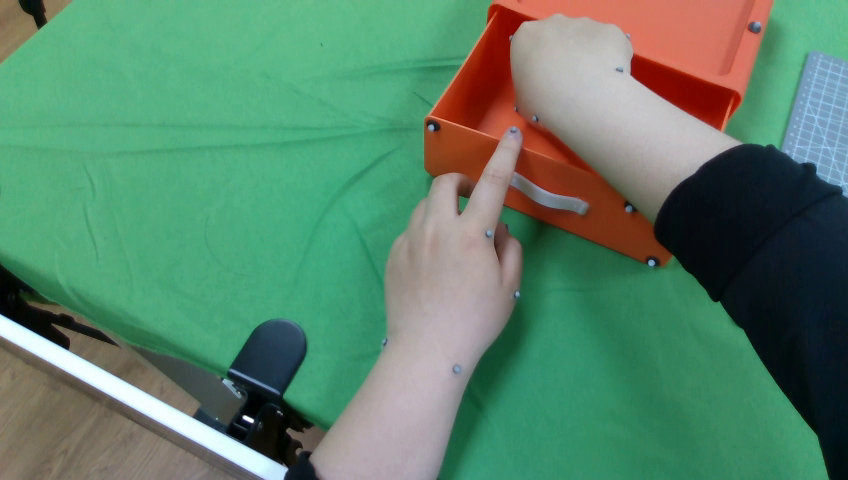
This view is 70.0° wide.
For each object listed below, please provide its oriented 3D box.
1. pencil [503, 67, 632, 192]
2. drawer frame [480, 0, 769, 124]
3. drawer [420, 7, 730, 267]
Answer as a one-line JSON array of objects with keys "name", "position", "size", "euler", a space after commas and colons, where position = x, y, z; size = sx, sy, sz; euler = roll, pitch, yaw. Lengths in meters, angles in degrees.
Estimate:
[{"name": "pencil", "position": [0.123, -0.075, 0.477], "size": [0.012, 0.012, 0.192], "euler": [-32, 69, -17]}, {"name": "drawer frame", "position": [0.179, -0.203, 0.523], "size": [0.201, 0.083, 0.212], "euler": [23, 63, 11]}, {"name": "drawer", "position": [0.127, -0.109, 0.473], "size": [0.194, 0.074, 0.211], "euler": [23, 63, 11]}]
